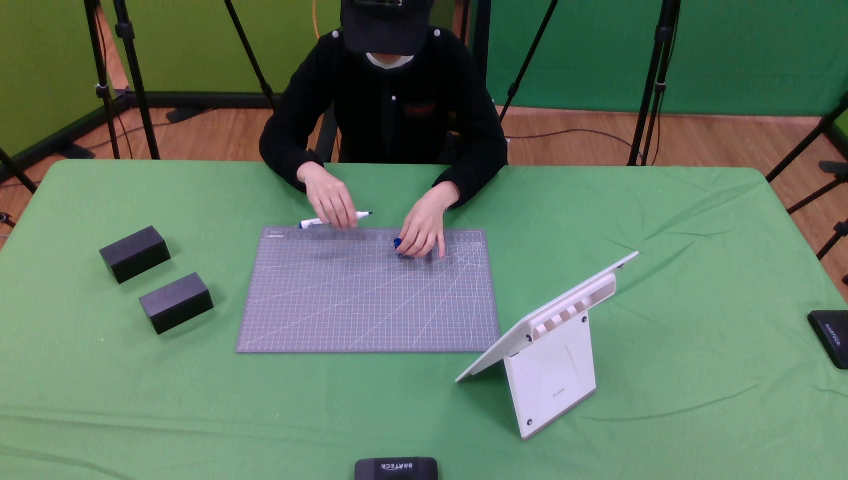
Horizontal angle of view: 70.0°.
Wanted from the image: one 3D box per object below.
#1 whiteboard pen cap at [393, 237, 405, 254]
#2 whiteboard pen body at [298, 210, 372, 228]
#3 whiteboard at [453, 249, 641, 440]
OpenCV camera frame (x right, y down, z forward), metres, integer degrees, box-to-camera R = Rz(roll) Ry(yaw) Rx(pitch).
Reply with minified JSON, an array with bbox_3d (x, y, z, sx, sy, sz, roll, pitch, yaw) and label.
[{"bbox_3d":[-0.048,0.011,1.159,0.018,0.033,0.018,-7,40,7],"label":"whiteboard pen cap"},{"bbox_3d":[-0.166,-0.041,1.139,0.141,0.017,0.017,-10,47,-3],"label":"whiteboard pen body"},{"bbox_3d":[0.206,0.174,0.890,0.217,0.306,0.143,-25,72,-25],"label":"whiteboard"}]
